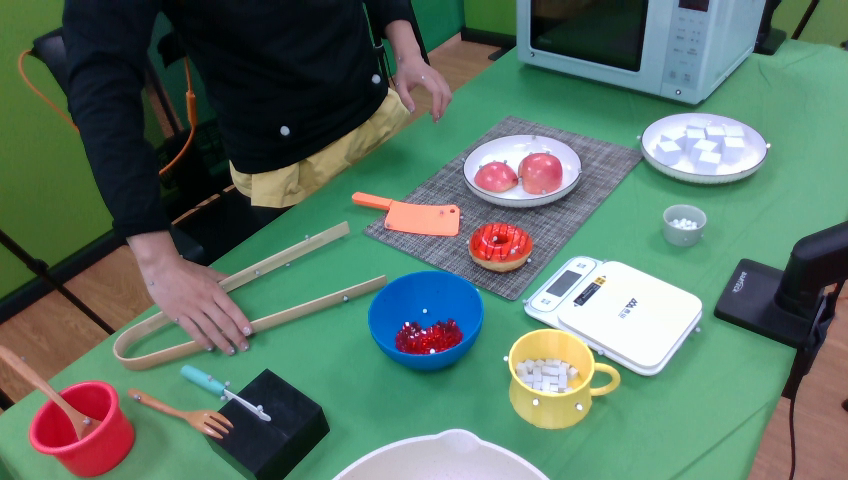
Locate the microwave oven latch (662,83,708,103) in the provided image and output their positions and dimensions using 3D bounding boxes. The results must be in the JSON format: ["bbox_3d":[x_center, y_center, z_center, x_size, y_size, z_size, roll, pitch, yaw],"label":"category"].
[{"bbox_3d":[0.518,-0.296,1.204,0.078,0.029,0.030,28,52,35],"label":"microwave oven latch"}]

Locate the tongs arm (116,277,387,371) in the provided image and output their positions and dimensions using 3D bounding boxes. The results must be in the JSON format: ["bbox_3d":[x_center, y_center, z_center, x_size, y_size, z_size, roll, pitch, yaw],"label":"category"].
[{"bbox_3d":[-0.238,0.118,0.871,0.389,0.028,0.028,-17,51,-12],"label":"tongs arm"}]

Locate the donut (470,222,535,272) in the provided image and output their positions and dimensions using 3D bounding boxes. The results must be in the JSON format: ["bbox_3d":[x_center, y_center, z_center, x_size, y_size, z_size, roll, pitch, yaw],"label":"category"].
[{"bbox_3d":[0.119,0.009,0.923,0.099,0.048,0.098,-4,38,3],"label":"donut"}]

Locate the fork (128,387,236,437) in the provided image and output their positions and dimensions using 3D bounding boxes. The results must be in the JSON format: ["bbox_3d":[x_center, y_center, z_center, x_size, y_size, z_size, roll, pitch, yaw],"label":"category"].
[{"bbox_3d":[-0.305,0.207,0.744,0.206,0.019,0.028,3,41,36],"label":"fork"}]

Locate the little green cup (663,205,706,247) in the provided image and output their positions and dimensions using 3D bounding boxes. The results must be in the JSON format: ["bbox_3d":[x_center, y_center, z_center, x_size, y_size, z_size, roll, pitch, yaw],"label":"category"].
[{"bbox_3d":[0.396,-0.020,0.926,0.061,0.039,0.061,-4,40,4],"label":"little green cup"}]

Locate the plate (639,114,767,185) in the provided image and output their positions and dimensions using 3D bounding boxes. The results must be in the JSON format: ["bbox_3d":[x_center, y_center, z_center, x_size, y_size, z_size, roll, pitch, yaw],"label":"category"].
[{"bbox_3d":[0.489,-0.157,1.074,0.207,0.039,0.206,-4,40,4],"label":"plate"}]

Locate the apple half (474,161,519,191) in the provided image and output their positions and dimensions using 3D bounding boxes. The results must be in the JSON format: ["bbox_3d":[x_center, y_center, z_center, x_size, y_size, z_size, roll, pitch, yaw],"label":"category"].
[{"bbox_3d":[0.130,-0.119,1.067,0.081,0.033,0.081,-4,36,3],"label":"apple half"}]

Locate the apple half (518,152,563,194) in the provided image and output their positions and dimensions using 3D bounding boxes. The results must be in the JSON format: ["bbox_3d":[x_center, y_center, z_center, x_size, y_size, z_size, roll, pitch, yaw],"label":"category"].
[{"bbox_3d":[0.203,-0.123,1.047,0.075,0.053,0.080,-2,41,1],"label":"apple half"}]

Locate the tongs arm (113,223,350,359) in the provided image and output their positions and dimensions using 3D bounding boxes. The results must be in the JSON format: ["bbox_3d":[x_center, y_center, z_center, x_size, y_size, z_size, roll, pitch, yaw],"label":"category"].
[{"bbox_3d":[-0.275,0.072,0.922,0.386,0.026,0.050,-26,50,-21],"label":"tongs arm"}]

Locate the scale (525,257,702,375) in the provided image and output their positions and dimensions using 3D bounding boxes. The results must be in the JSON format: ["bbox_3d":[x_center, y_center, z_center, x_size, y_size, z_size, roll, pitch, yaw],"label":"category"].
[{"bbox_3d":[0.254,0.091,0.821,0.199,0.032,0.149,28,51,35],"label":"scale"}]

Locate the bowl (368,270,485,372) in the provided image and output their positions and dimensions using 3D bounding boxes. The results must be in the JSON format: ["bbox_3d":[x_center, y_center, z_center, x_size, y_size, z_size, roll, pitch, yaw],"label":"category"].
[{"bbox_3d":[0.007,0.118,0.791,0.151,0.077,0.150,-4,40,4],"label":"bowl"}]

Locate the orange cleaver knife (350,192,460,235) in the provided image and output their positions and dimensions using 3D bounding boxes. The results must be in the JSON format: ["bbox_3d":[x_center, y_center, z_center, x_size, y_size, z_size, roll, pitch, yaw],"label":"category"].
[{"bbox_3d":[-0.036,-0.045,1.028,0.210,0.012,0.077,10,49,17],"label":"orange cleaver knife"}]

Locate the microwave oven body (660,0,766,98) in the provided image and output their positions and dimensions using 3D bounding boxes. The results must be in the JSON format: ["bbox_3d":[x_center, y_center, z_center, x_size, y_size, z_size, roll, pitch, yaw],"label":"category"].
[{"bbox_3d":[0.472,-0.513,1.317,0.438,0.261,0.327,26,51,34],"label":"microwave oven body"}]

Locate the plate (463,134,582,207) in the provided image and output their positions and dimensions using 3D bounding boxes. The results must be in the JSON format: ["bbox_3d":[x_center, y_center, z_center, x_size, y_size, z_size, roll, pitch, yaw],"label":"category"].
[{"bbox_3d":[0.173,-0.119,1.070,0.209,0.038,0.208,-4,40,4],"label":"plate"}]

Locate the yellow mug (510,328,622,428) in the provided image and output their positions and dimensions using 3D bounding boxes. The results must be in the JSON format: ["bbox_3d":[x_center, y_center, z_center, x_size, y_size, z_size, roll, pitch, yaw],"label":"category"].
[{"bbox_3d":[0.168,0.164,0.722,0.130,0.064,0.099,0,40,8],"label":"yellow mug"}]

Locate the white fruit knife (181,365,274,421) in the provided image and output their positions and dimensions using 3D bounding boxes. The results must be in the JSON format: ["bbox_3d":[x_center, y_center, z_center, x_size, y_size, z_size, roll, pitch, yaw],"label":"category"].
[{"bbox_3d":[-0.245,0.187,0.747,0.205,0.027,0.016,9,41,41],"label":"white fruit knife"}]

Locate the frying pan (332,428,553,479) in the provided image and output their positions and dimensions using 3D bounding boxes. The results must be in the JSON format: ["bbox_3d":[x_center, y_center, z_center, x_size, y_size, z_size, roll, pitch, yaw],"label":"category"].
[{"bbox_3d":[-0.089,0.306,0.564,0.487,0.103,0.306,10,41,7],"label":"frying pan"}]

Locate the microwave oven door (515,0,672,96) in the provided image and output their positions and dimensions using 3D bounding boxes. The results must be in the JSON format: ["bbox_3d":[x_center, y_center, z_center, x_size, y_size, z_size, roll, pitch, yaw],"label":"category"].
[{"bbox_3d":[0.343,-0.455,1.259,0.353,0.245,0.039,26,51,33],"label":"microwave oven door"}]

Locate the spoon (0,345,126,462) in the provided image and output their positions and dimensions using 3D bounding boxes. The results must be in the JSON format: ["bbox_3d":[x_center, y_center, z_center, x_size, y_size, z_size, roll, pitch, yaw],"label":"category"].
[{"bbox_3d":[-0.434,0.192,0.720,0.194,0.021,0.042,47,53,-7],"label":"spoon"}]
